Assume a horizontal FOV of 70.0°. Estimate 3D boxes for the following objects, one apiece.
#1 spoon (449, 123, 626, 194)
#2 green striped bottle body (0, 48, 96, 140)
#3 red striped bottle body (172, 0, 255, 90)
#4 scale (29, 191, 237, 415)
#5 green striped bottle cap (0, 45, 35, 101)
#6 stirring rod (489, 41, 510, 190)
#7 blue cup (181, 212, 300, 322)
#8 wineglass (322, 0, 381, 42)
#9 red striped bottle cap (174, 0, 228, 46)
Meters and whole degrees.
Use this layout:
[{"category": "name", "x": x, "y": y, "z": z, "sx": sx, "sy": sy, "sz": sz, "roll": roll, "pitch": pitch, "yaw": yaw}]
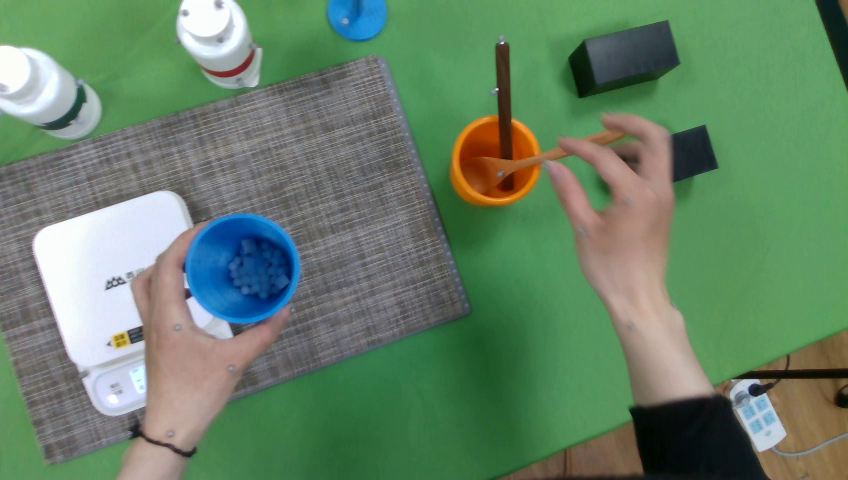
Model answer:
[{"category": "spoon", "x": 0.108, "y": -0.082, "z": 0.610, "sx": 0.021, "sy": 0.193, "sz": 0.042, "roll": -43, "pitch": 114, "yaw": -48}, {"category": "green striped bottle body", "x": -0.364, "y": -0.137, "z": 0.568, "sx": 0.063, "sy": 0.119, "sz": 0.063, "roll": 0, "pitch": 87, "yaw": -7}, {"category": "red striped bottle body", "x": -0.205, "y": -0.194, "z": 0.591, "sx": 0.063, "sy": 0.119, "sz": 0.063, "roll": 0, "pitch": 86, "yaw": -7}, {"category": "scale", "x": -0.289, "y": 0.062, "z": 0.608, "sx": 0.149, "sy": 0.031, "sz": 0.201, "roll": -20, "pitch": 90, "yaw": -8}, {"category": "green striped bottle cap", "x": -0.357, "y": -0.142, "z": 0.512, "sx": 0.044, "sy": 0.020, "sz": 0.044, "roll": 0, "pitch": 87, "yaw": -5}, {"category": "stirring rod", "x": 0.077, "y": -0.117, "z": 0.607, "sx": 0.014, "sy": 0.178, "sz": 0.005, "roll": -3, "pitch": 46, "yaw": 8}, {"category": "blue cup", "x": -0.144, "y": 0.024, "z": 0.515, "sx": 0.093, "sy": 0.100, "sz": 0.092, "roll": 0, "pitch": 87, "yaw": -7}, {"category": "wineglass", "x": -0.070, "y": -0.256, "z": 0.584, "sx": 0.074, "sy": 0.172, "sz": 0.073, "roll": 0, "pitch": 86, "yaw": -6}, {"category": "red striped bottle cap", "x": -0.198, "y": -0.197, "z": 0.538, "sx": 0.044, "sy": 0.018, "sz": 0.044, "roll": 1, "pitch": 84, "yaw": -6}]
